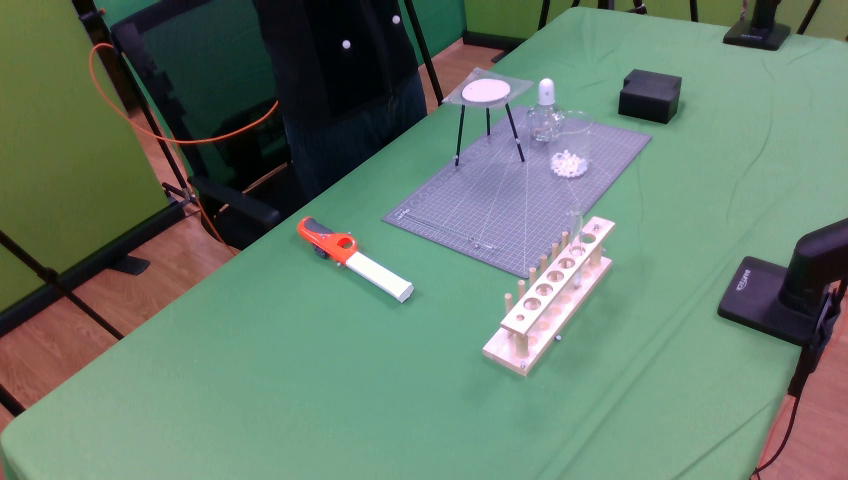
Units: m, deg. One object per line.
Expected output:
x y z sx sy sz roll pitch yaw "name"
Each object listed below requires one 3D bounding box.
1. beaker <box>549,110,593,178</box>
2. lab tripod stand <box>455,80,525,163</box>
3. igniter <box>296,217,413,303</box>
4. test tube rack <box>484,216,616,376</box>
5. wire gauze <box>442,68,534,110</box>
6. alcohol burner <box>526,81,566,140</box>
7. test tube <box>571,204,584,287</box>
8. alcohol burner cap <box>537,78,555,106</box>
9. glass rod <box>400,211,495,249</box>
0.255 -0.165 1.063 0.084 0.101 0.073 -36 46 -27 "beaker"
0.120 -0.219 1.126 0.148 0.132 0.147 -4 40 4 "lab tripod stand"
-0.121 0.025 0.970 0.274 0.025 0.057 29 63 37 "igniter"
0.174 0.064 0.823 0.066 0.085 0.243 23 49 33 "test tube rack"
0.114 -0.269 1.081 0.120 0.011 0.125 21 49 29 "wire gauze"
0.234 -0.252 1.159 0.078 0.119 0.077 -4 42 4 "alcohol burner"
0.205 0.012 0.804 0.017 0.151 0.017 -7 45 8 "test tube"
0.229 -0.279 1.136 0.034 0.048 0.033 -6 33 4 "alcohol burner cap"
0.035 -0.018 1.001 0.198 0.008 0.008 21 49 35 "glass rod"
